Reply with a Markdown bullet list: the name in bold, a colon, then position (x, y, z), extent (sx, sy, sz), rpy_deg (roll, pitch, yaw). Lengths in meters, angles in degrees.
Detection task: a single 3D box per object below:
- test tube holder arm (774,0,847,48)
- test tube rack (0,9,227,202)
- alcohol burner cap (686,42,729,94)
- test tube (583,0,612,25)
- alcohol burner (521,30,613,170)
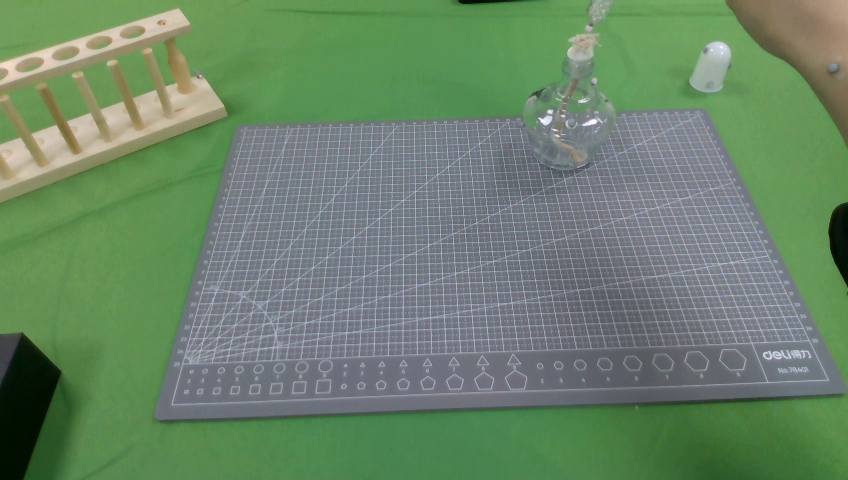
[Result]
- **test tube holder arm**: position (0.194, -0.170, 0.374), extent (0.177, 0.015, 0.013), rpy_deg (42, 57, 16)
- **test tube rack**: position (-0.313, -0.118, 0.540), extent (0.242, 0.086, 0.066), rpy_deg (-27, 54, -20)
- **alcohol burner cap**: position (0.282, -0.172, 0.598), extent (0.034, 0.048, 0.033), rpy_deg (-2, 50, 2)
- **test tube**: position (0.141, -0.208, 0.396), extent (0.017, 0.151, 0.017), rpy_deg (9, 51, -11)
- **alcohol burner**: position (0.122, -0.118, 0.506), extent (0.078, 0.120, 0.077), rpy_deg (0, 48, 1)
